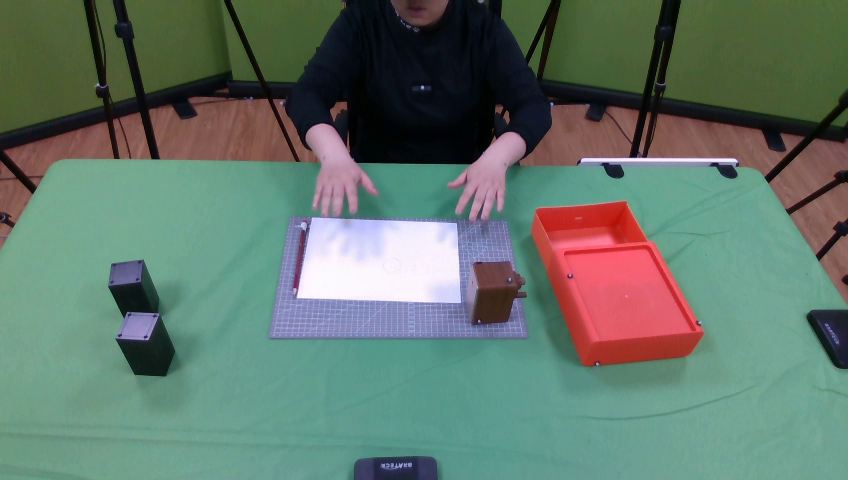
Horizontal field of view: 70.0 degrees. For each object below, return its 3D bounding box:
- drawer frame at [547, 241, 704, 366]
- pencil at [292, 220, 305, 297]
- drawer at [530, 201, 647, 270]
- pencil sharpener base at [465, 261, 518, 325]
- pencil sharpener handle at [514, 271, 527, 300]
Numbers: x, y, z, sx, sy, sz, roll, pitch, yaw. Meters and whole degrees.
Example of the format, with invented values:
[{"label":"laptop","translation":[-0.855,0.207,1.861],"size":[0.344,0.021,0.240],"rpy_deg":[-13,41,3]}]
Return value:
[{"label":"drawer frame","translation":[0.348,0.106,1.077],"size":[0.202,0.083,0.212],"rpy_deg":[-4,47,-9]},{"label":"pencil","translation":[-0.239,0.032,1.152],"size":[0.012,0.012,0.193],"rpy_deg":[0,47,-4]},{"label":"drawer","translation":[0.329,0.025,1.159],"size":[0.195,0.073,0.210],"rpy_deg":[-4,47,-10]},{"label":"pencil sharpener base","translation":[0.117,0.092,1.052],"size":[0.077,0.107,0.061],"rpy_deg":[-3,46,-7]},{"label":"pencil sharpener handle","translation":[0.168,0.081,1.051],"size":[0.031,0.068,0.035],"rpy_deg":[-3,49,-7]}]
